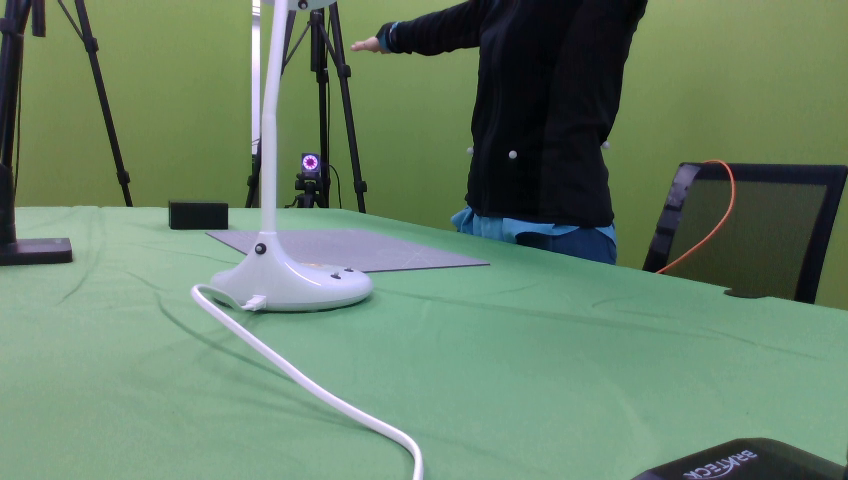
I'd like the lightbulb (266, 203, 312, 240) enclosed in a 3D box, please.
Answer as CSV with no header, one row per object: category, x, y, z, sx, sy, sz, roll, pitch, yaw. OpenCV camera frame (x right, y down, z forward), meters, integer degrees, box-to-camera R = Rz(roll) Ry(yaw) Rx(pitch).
lightbulb,-0.224,-0.026,1.032,0.059,0.059,0.108,8,25,38

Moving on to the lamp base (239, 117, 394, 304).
lamp base,-0.106,-0.034,0.619,0.161,0.180,0.178,0,10,-17
